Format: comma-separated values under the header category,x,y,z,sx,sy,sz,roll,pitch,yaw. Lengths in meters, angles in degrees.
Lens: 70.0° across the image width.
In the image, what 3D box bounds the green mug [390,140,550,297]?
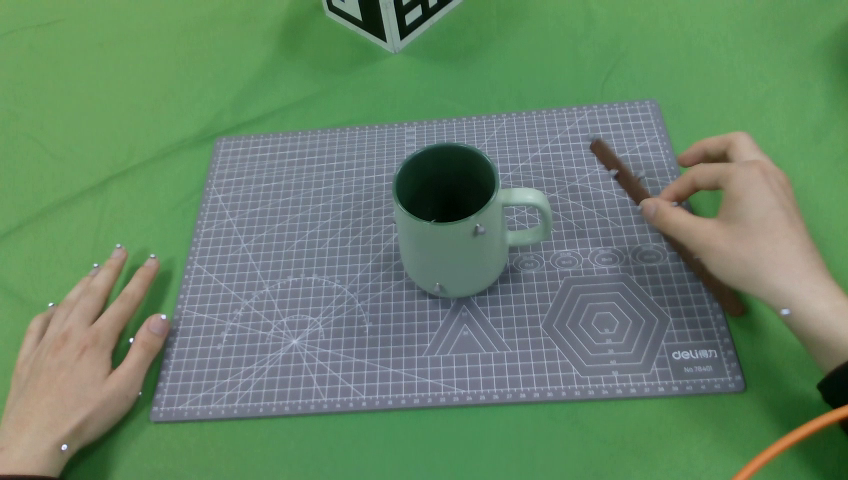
category,x,y,z,sx,sy,sz,roll,pitch,yaw
green mug,0.036,-0.015,0.478,0.125,0.106,0.091,-3,56,5

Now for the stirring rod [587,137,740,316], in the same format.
category,x,y,z,sx,sy,sz,roll,pitch,yaw
stirring rod,0.187,-0.014,0.481,0.006,0.014,0.175,-18,68,-45
